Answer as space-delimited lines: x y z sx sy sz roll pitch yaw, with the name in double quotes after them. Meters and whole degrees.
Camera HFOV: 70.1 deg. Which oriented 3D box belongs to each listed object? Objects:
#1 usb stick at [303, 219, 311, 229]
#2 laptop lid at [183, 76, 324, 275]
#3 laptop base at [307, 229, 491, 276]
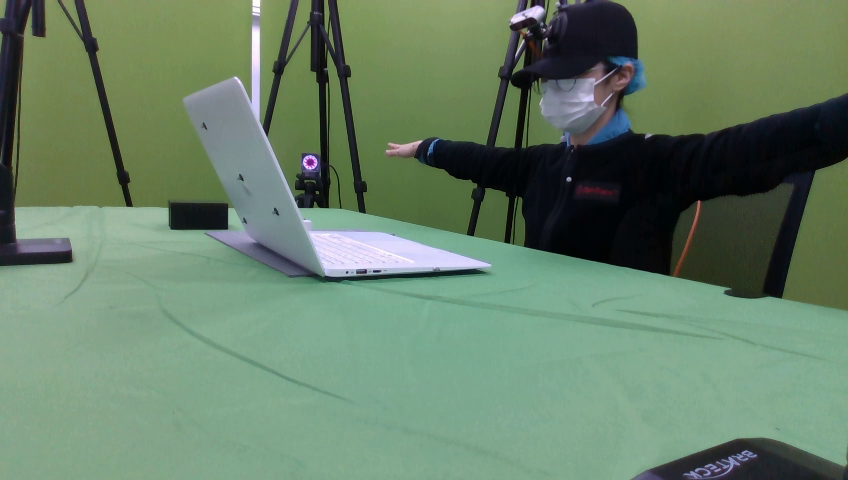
-0.235 -0.025 1.102 0.021 0.027 0.059 9 12 37 "usb stick"
-0.237 -0.085 0.791 0.013 0.242 0.355 -29 22 -23 "laptop lid"
-0.094 0.015 0.888 0.237 0.023 0.352 2 7 -30 "laptop base"
